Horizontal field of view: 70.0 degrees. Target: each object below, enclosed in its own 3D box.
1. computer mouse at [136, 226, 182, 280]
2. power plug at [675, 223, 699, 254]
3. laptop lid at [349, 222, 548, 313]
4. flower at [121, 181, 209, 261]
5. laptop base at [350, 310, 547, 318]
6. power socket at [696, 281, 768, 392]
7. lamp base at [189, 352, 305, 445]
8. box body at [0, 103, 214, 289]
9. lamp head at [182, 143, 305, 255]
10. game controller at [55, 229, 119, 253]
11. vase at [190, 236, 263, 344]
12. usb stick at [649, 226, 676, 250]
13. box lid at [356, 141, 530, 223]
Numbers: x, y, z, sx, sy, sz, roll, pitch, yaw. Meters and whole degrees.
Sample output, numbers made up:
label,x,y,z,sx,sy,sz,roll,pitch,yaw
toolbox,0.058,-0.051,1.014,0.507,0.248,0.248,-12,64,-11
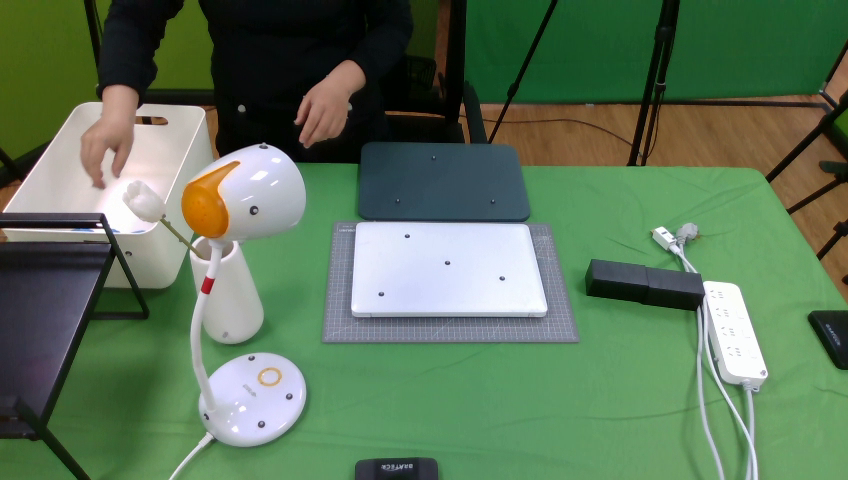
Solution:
label,x,y,z,sx,sy,sz,roll,pitch,yaw
computer mouse,-0.488,0.020,1.117,0.063,0.041,0.116,1,55,-6
power plug,0.537,0.000,1.243,0.053,0.035,0.072,18,82,-17
laptop lid,0.042,0.046,1.142,0.357,0.013,0.240,2,44,-3
flower,-0.329,0.029,0.905,0.038,0.364,0.044,-22,58,-1
laptop base,0.041,0.056,1.149,0.355,0.023,0.234,0,42,-4
power socket,0.543,0.161,1.077,0.072,0.033,0.225,6,46,2
lamp base,-0.268,0.196,0.876,0.160,0.181,0.179,25,52,20
box body,-0.563,-0.087,1.139,0.254,0.161,0.361,2,46,-3
lamp head,-0.216,-0.044,0.697,0.112,0.113,0.123,23,31,17
game controller,-0.597,0.010,1.116,0.155,0.052,0.096,2,48,-1
vase,-0.317,0.081,0.971,0.098,0.201,0.097,3,47,-3
usb stick,0.485,-0.008,1.237,0.021,0.027,0.059,-22,44,-13
box lid,0.040,-0.132,1.339,0.372,0.015,0.261,0,46,-4
